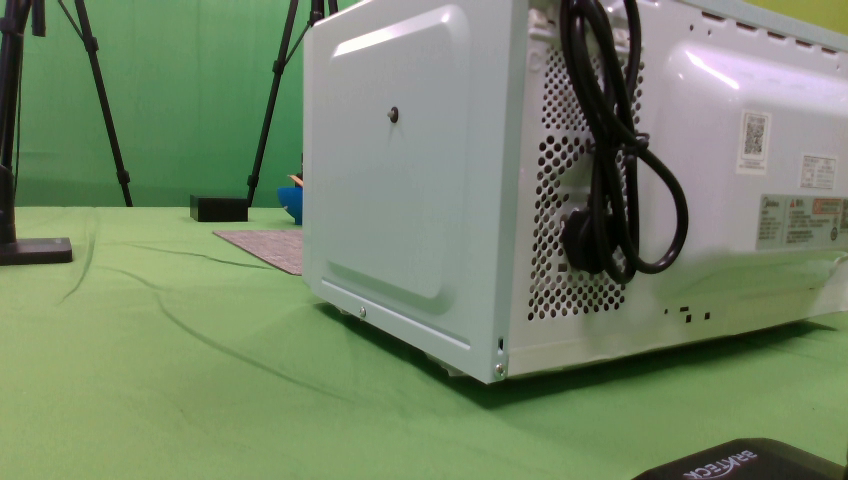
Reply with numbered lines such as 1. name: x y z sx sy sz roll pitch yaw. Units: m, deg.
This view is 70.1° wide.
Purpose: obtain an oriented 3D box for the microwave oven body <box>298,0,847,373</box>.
1. microwave oven body: 0.151 -0.055 0.542 0.444 0.260 0.324 -1 7 -33

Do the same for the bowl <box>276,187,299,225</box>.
1. bowl: -0.241 -0.073 1.302 0.151 0.077 0.151 2 7 0

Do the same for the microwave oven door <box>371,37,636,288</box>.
1. microwave oven door: 0.109 -0.080 0.686 0.358 0.243 0.039 -2 9 -33

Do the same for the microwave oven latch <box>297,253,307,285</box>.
1. microwave oven latch: -0.082 0.027 0.582 0.079 0.029 0.030 -1 7 -33

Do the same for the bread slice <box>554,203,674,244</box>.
1. bread slice: 0.183 -0.017 0.579 0.107 0.018 0.134 -4 10 9

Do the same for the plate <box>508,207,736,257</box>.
1. plate: 0.186 -0.010 0.588 0.208 0.039 0.207 1 5 0

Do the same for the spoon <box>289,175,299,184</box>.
1. spoon: -0.260 -0.110 1.343 0.042 0.021 0.192 -8 33 -30

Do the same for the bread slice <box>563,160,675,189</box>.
1. bread slice: 0.186 -0.063 0.578 0.104 0.019 0.132 7 6 15

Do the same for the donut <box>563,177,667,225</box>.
1. donut: 0.184 -0.037 0.587 0.099 0.048 0.099 -2 3 0
